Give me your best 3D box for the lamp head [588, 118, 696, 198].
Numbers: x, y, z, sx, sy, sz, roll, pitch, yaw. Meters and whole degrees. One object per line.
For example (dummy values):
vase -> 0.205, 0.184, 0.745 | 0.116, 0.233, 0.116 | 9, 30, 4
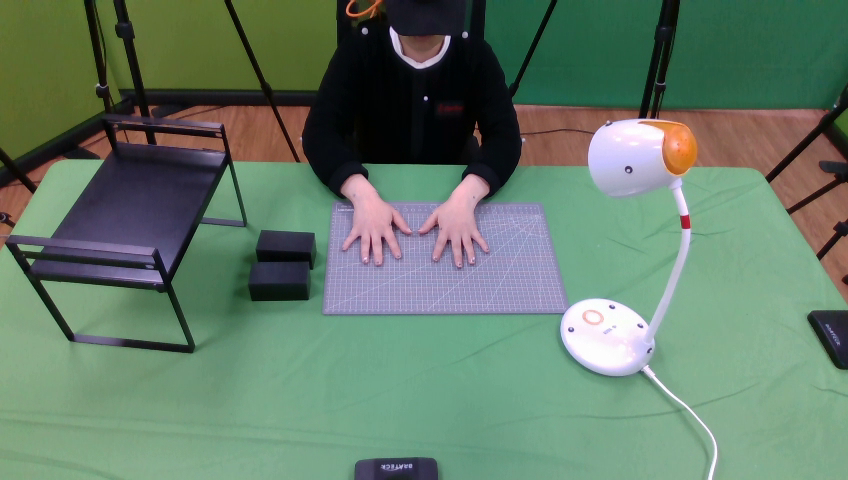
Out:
lamp head -> 0.304, -0.113, 0.823 | 0.112, 0.112, 0.122 | -26, 16, -25

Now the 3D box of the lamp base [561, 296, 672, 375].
lamp base -> 0.332, 0.119, 0.996 | 0.160, 0.181, 0.178 | -34, 59, -31
